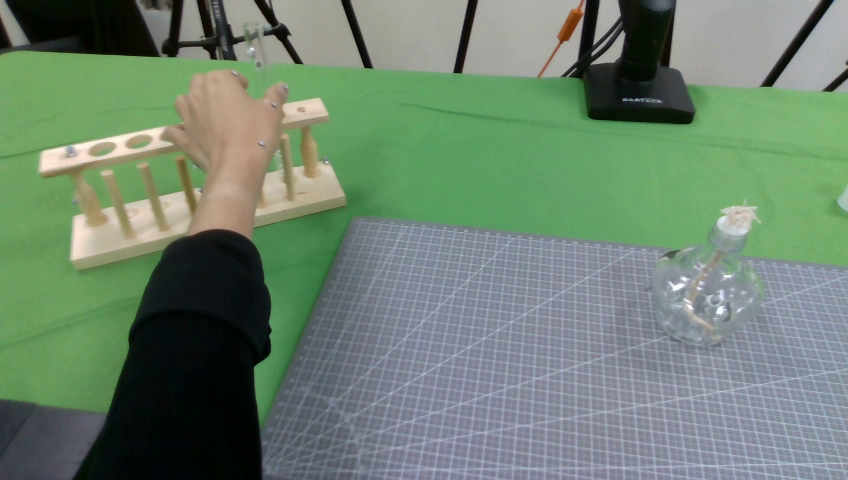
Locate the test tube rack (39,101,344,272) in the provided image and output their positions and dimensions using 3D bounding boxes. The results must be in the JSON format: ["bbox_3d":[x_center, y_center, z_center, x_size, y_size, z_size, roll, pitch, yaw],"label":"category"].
[{"bbox_3d":[-0.203,-0.053,0.556,0.243,0.086,0.066,-15,44,-16],"label":"test tube rack"}]

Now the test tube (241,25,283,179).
[{"bbox_3d":[-0.143,-0.121,0.556,0.017,0.151,0.017,-2,39,2],"label":"test tube"}]

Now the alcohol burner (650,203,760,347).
[{"bbox_3d":[0.210,0.022,0.445,0.078,0.120,0.077,0,40,0],"label":"alcohol burner"}]

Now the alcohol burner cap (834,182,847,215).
[{"bbox_3d":[0.420,-0.048,0.578,0.034,0.048,0.033,-2,42,2],"label":"alcohol burner cap"}]
